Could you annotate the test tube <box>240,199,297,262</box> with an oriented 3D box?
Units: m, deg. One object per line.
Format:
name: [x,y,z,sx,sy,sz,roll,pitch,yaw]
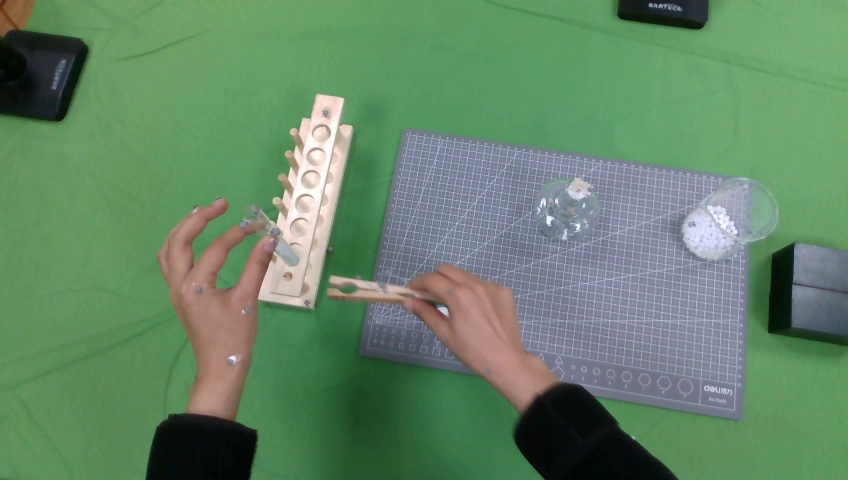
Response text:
test tube: [-0.141,-0.005,0.566,0.017,0.151,0.017,0,73,2]

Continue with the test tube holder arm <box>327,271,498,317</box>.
test tube holder arm: [-0.012,0.055,0.620,0.178,0.015,0.013,10,66,6]

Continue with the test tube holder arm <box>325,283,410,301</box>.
test tube holder arm: [-0.058,0.054,0.622,0.088,0.015,0.010,3,65,3]

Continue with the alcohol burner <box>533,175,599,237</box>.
alcohol burner: [0.167,-0.045,0.704,0.078,0.120,0.077,-1,75,3]

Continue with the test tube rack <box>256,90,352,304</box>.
test tube rack: [-0.148,-0.053,0.725,0.067,0.085,0.241,10,75,3]

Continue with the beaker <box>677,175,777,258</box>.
beaker: [0.344,-0.023,0.704,0.084,0.101,0.073,8,75,4]

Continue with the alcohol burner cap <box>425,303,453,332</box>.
alcohol burner cap: [0.018,0.088,0.706,0.034,0.048,0.033,1,74,-2]
